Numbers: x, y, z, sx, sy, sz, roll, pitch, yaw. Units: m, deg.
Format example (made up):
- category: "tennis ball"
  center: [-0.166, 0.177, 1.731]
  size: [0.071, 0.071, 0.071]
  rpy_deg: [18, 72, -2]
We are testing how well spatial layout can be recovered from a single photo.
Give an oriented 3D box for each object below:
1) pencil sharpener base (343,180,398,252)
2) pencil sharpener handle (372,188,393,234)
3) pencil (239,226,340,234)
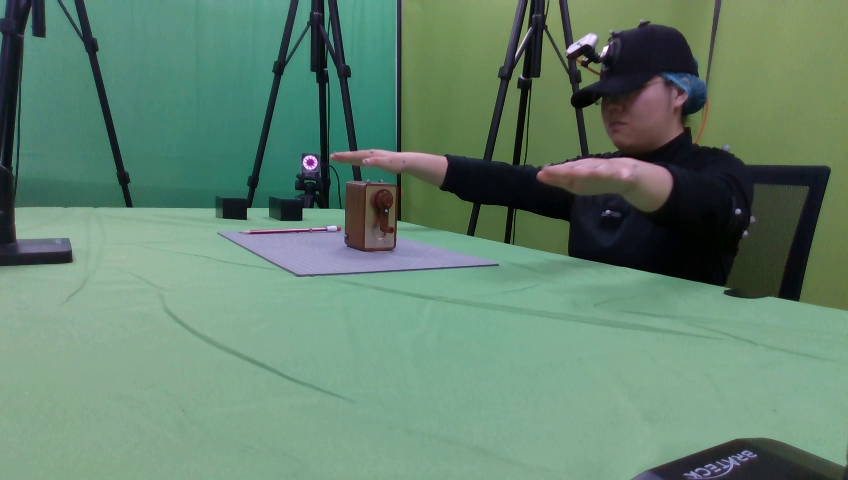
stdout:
- category: "pencil sharpener base"
  center: [-0.085, -0.038, 0.956]
  size: [0.062, 0.107, 0.076]
  rpy_deg: [-1, 9, -33]
- category: "pencil sharpener handle"
  center: [-0.057, -0.044, 0.912]
  size: [0.036, 0.067, 0.030]
  rpy_deg: [-2, 9, -33]
- category: "pencil"
  center: [-0.245, -0.018, 1.119]
  size: [0.195, 0.012, 0.012]
  rpy_deg: [-3, 9, -34]
